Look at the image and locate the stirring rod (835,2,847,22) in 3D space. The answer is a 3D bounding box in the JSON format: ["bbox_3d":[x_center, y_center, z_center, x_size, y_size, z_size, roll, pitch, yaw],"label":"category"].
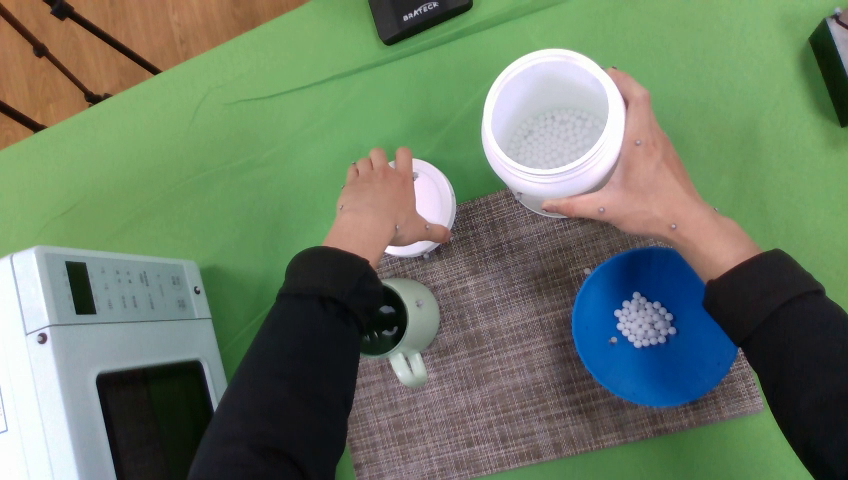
[{"bbox_3d":[0.451,-0.163,0.542,0.175,0.006,0.014,40,132,15],"label":"stirring rod"}]

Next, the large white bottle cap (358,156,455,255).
[{"bbox_3d":[-0.022,-0.039,0.699,0.114,0.018,0.114,-2,84,16],"label":"large white bottle cap"}]

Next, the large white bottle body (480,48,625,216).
[{"bbox_3d":[0.127,-0.100,0.591,0.130,0.185,0.130,-2,84,16],"label":"large white bottle body"}]

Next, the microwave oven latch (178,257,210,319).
[{"bbox_3d":[-0.297,0.061,0.763,0.030,0.029,0.079,-20,81,13],"label":"microwave oven latch"}]

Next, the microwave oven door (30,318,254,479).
[{"bbox_3d":[-0.262,0.258,0.632,0.039,0.245,0.354,-21,80,14],"label":"microwave oven door"}]

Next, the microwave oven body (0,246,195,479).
[{"bbox_3d":[-0.407,0.269,0.678,0.326,0.261,0.440,-20,81,13],"label":"microwave oven body"}]

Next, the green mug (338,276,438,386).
[{"bbox_3d":[-0.031,0.100,0.663,0.092,0.105,0.124,-28,79,12],"label":"green mug"}]

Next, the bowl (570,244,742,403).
[{"bbox_3d":[0.225,0.081,0.604,0.151,0.077,0.151,-2,85,17],"label":"bowl"}]
